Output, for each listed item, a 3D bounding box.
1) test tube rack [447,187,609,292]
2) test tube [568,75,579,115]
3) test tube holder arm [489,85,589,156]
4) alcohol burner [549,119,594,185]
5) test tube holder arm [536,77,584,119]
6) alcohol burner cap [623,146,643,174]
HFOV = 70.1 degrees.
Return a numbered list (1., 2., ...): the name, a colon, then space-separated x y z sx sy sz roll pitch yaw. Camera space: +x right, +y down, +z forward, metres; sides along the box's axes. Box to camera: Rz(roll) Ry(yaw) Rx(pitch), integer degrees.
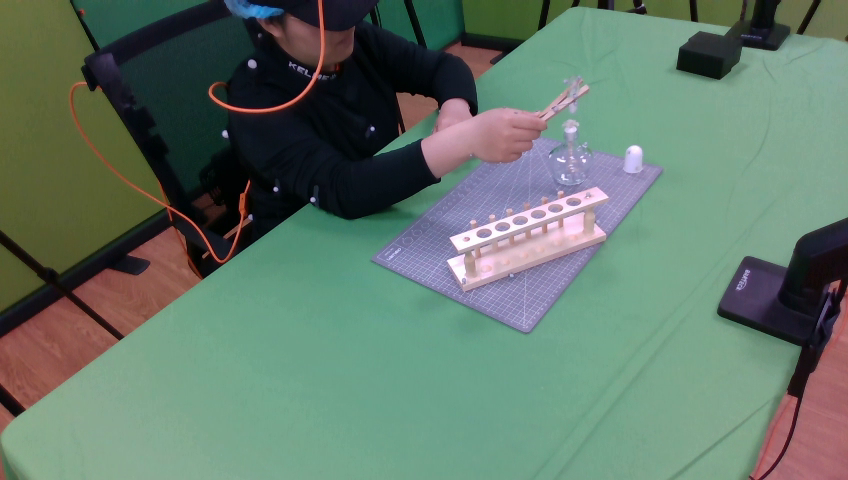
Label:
1. test tube rack: 0.155 -0.011 0.913 0.243 0.085 0.066 -19 41 -11
2. test tube: 0.231 -0.222 0.937 0.017 0.151 0.017 -1 85 14
3. test tube holder arm: 0.176 -0.183 0.936 0.178 0.015 0.013 -35 81 17
4. alcohol burner: 0.254 -0.155 1.043 0.078 0.120 0.077 -7 40 6
5. test tube holder arm: 0.207 -0.214 0.925 0.087 0.015 0.010 -43 79 15
6. alcohol burner cap: 0.369 -0.143 1.062 0.034 0.048 0.033 -6 40 6
